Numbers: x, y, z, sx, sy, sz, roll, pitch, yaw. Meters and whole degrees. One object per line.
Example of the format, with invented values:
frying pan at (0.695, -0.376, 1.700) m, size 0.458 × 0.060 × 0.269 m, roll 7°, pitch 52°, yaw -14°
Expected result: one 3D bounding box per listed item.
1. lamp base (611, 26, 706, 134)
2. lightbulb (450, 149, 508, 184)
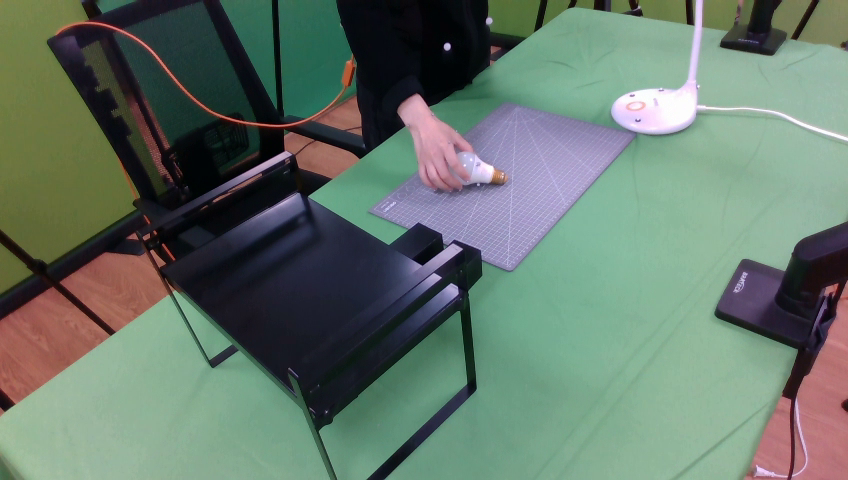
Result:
lamp base at (0.459, -0.316, 1.154) m, size 0.179 × 0.181 × 0.159 m, roll -6°, pitch 41°, yaw -1°
lightbulb at (0.098, -0.125, 1.073) m, size 0.108 × 0.059 × 0.059 m, roll 18°, pitch 43°, yaw -4°
